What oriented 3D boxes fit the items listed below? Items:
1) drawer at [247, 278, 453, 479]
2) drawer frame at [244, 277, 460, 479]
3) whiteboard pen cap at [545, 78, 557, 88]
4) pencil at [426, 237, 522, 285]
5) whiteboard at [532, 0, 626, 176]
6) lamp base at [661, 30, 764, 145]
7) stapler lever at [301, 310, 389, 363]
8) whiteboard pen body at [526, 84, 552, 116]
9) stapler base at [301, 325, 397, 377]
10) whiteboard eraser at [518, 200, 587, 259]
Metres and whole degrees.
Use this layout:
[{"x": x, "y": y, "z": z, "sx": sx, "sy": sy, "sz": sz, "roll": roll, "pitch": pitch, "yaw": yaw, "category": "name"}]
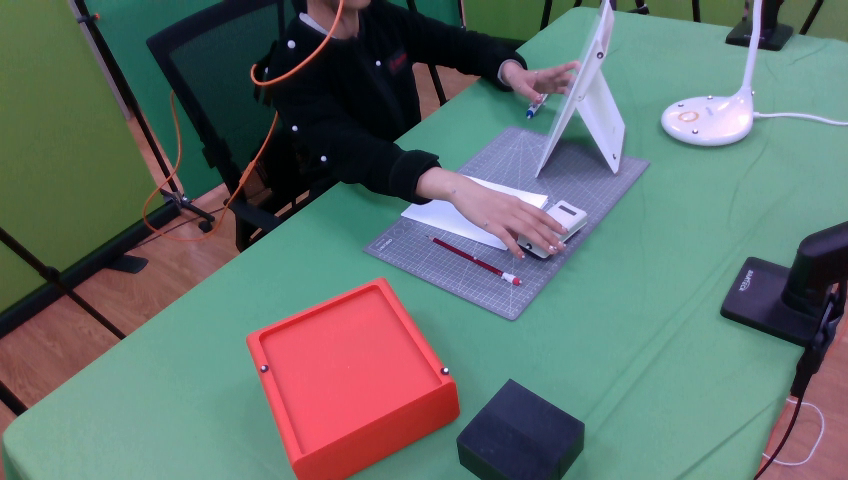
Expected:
[{"x": -0.096, "y": 0.167, "z": 0.758, "sx": 0.195, "sy": 0.073, "sz": 0.210, "roll": -22, "pitch": 43, "yaw": -16, "category": "drawer"}, {"x": -0.093, "y": 0.167, "z": 0.755, "sx": 0.202, "sy": 0.083, "sz": 0.211, "roll": -23, "pitch": 43, "yaw": -17, "category": "drawer frame"}, {"x": 0.280, "y": -0.344, "z": 1.335, "sx": 0.018, "sy": 0.018, "sz": 0.033, "roll": 15, "pitch": 45, "yaw": 26, "category": "whiteboard pen cap"}, {"x": 0.072, "y": 0.029, "z": 0.941, "sx": 0.192, "sy": 0.012, "sz": 0.012, "roll": 26, "pitch": 51, "yaw": 37, "category": "pencil"}, {"x": 0.321, "y": -0.258, "z": 1.050, "sx": 0.144, "sy": 0.306, "sz": 0.217, "roll": 22, "pitch": 45, "yaw": 5, "category": "whiteboard"}, {"x": 0.535, "y": -0.287, "z": 1.096, "sx": 0.179, "sy": 0.181, "sz": 0.159, "roll": -10, "pitch": 40, "yaw": -4, "category": "lamp base"}, {"x": -0.104, "y": 0.126, "z": 0.798, "sx": 0.118, "sy": 0.040, "sz": 0.026, "roll": -17, "pitch": 42, "yaw": -15, "category": "stapler lever"}, {"x": 0.251, "y": -0.306, "z": 1.298, "sx": 0.017, "sy": 0.017, "sz": 0.141, "roll": 15, "pitch": 46, "yaw": 26, "category": "whiteboard pen body"}, {"x": -0.102, "y": 0.143, "z": 0.814, "sx": 0.131, "sy": 0.024, "sz": 0.041, "roll": -18, "pitch": 42, "yaw": -13, "category": "stapler base"}, {"x": 0.201, "y": -0.015, "z": 0.943, "sx": 0.113, "sy": 0.042, "sz": 0.055, "roll": -36, "pitch": 50, "yaw": -28, "category": "whiteboard eraser"}]
